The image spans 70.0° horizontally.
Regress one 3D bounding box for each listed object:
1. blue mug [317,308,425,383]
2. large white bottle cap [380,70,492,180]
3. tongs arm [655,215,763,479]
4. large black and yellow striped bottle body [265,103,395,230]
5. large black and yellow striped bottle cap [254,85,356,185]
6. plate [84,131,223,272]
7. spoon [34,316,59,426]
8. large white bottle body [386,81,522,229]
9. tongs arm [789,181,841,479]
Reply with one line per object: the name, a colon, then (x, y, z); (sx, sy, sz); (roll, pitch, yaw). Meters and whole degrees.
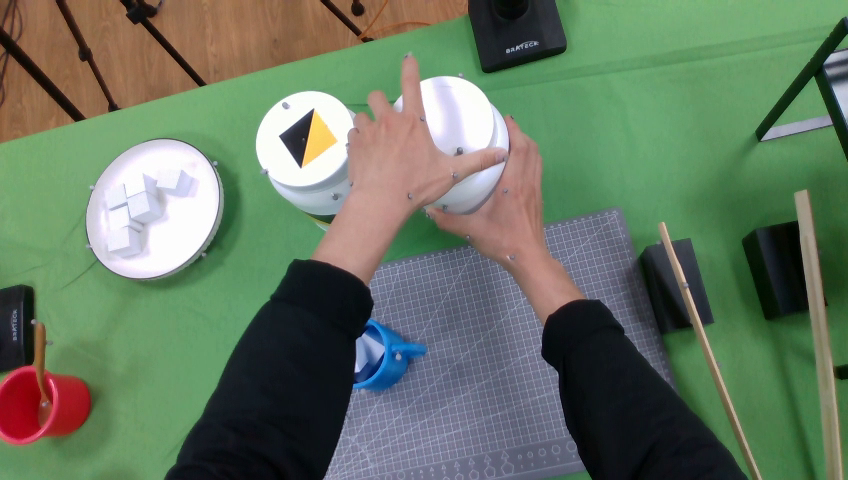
blue mug: (-0.057, 0.128, 0.729); (0.116, 0.106, 0.082); (-6, 75, 8)
large white bottle cap: (0.011, -0.116, 0.611); (0.114, 0.018, 0.114); (-4, 76, 16)
tongs arm: (0.337, 0.148, 0.657); (0.051, 0.026, 0.384); (-17, 86, 3)
large black and yellow striped bottle body: (-0.118, -0.096, 0.755); (0.130, 0.185, 0.130); (-2, 75, 10)
large black and yellow striped bottle cap: (-0.134, -0.118, 0.676); (0.115, 0.019, 0.114); (-2, 77, 8)
plate: (-0.382, -0.053, 0.868); (0.207, 0.039, 0.206); (-2, 76, 9)
spoon: (-0.488, 0.171, 0.776); (0.041, 0.021, 0.195); (33, 128, 19)
large white bottle body: (0.036, -0.096, 0.689); (0.130, 0.186, 0.130); (-4, 76, 16)
tongs arm: (0.417, 0.130, 0.651); (0.028, 0.028, 0.387); (-4, 87, 0)
